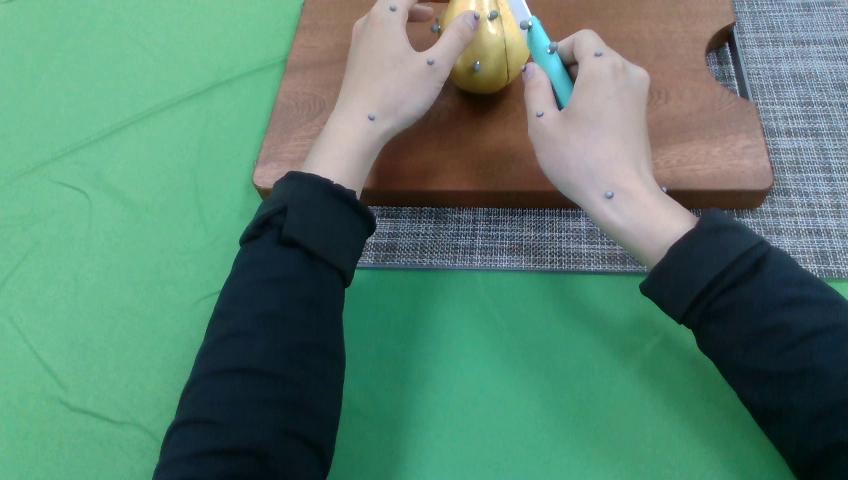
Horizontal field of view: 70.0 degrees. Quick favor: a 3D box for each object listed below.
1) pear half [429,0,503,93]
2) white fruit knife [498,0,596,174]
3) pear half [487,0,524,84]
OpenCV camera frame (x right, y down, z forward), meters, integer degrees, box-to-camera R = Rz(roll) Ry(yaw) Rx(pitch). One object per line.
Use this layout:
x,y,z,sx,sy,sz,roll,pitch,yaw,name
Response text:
0.030,-0.168,0.480,0.056,0.111,0.075,-18,53,0,pear half
0.072,-0.143,0.428,0.016,0.027,0.206,-22,83,-16,white fruit knife
0.066,-0.170,0.489,0.031,0.089,0.069,-17,55,-2,pear half
